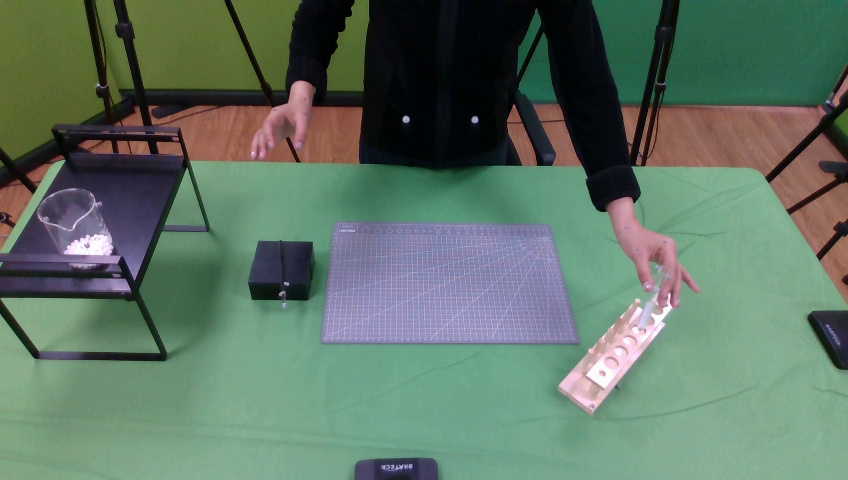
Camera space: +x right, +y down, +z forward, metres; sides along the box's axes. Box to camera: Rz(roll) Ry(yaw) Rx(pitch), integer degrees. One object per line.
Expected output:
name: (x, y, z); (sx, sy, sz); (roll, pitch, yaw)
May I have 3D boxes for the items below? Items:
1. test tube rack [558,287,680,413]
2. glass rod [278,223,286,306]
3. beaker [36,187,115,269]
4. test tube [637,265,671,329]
test tube rack: (0.327, 0.170, 1.009); (0.066, 0.085, 0.242); (36, 54, 26)
glass rod: (-0.255, 0.039, 1.081); (0.008, 0.008, 0.198); (-6, 47, -10)
beaker: (-0.493, -0.012, 0.867); (0.074, 0.101, 0.083); (-18, 50, -18)
test tube: (0.348, 0.090, 0.922); (0.017, 0.151, 0.017); (-1, 48, 1)
